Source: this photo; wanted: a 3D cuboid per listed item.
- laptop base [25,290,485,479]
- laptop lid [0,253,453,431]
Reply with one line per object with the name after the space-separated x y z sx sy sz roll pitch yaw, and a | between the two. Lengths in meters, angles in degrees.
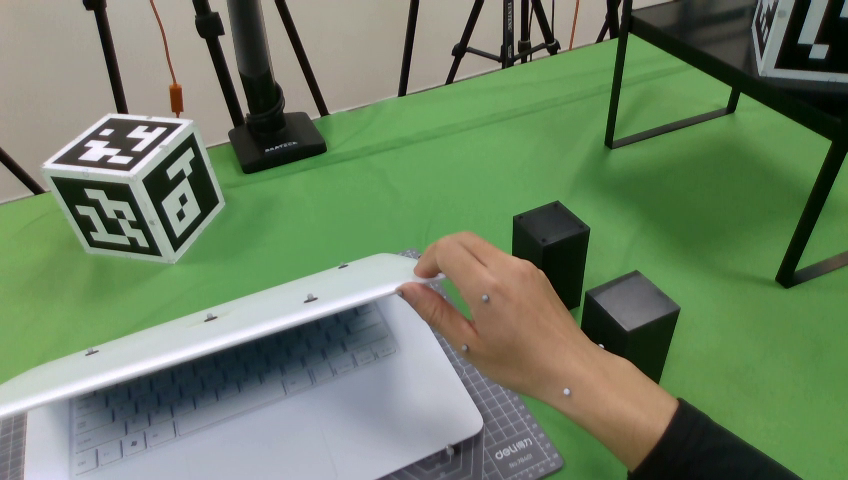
-0.154 0.145 0.528 0.355 0.023 0.232 -19 45 -16 | laptop base
-0.170 0.070 0.494 0.357 0.013 0.240 -18 6 -14 | laptop lid
